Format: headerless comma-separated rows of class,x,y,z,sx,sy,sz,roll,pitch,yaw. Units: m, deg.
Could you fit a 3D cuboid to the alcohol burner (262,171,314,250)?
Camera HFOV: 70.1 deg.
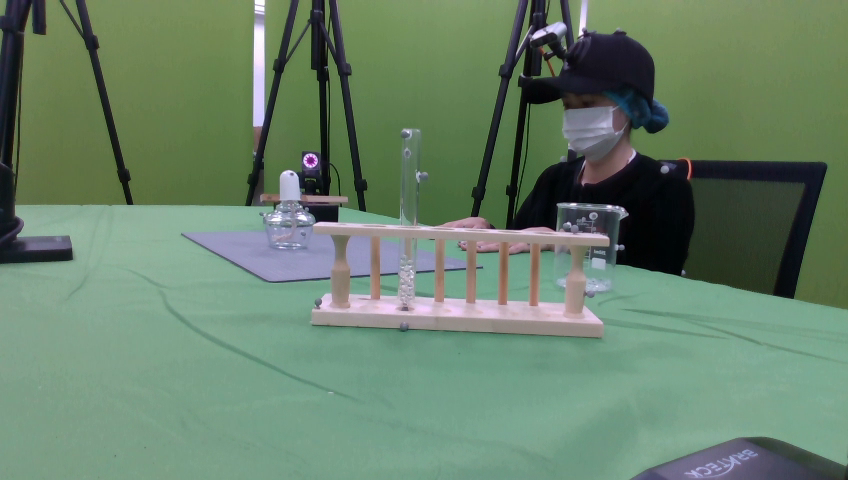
alcohol burner,-0.205,-0.045,0.913,0.078,0.119,0.078,1,9,0

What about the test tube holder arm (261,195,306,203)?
test tube holder arm,-0.275,-0.081,1.184,0.088,0.015,0.010,-1,0,-32

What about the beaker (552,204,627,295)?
beaker,0.191,0.010,0.708,0.083,0.100,0.074,8,9,33

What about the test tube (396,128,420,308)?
test tube,-0.014,-0.016,0.501,0.017,0.150,0.017,2,11,0

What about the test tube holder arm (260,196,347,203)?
test tube holder arm,-0.239,-0.082,1.213,0.179,0.015,0.013,-1,-1,-32

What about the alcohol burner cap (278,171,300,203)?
alcohol burner cap,-0.203,-0.080,0.909,0.034,0.048,0.034,-1,3,0

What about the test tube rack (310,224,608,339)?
test tube rack,0.028,0.032,0.528,0.242,0.085,0.067,3,7,0
